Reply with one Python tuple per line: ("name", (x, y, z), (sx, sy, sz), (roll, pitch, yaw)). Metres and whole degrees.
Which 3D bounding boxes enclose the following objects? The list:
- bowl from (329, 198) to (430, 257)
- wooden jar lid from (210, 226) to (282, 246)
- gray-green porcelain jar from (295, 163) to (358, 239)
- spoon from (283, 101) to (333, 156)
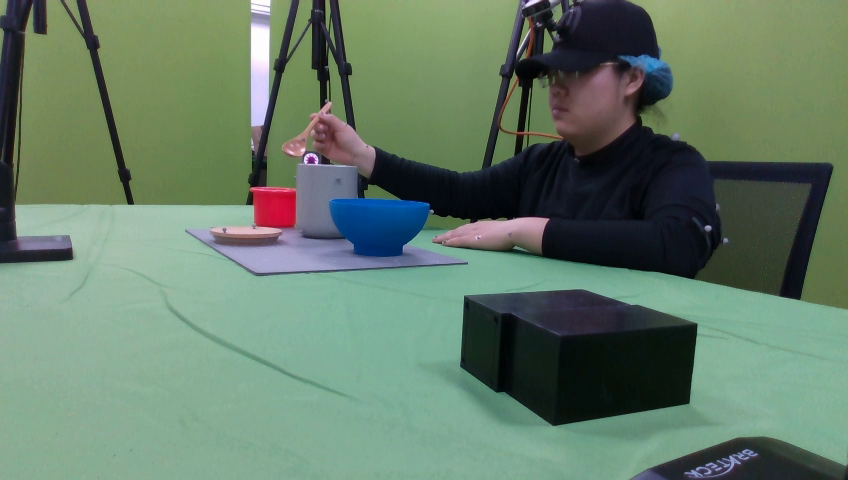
("bowl", (-0.067, -0.019, 0.895), (0.151, 0.077, 0.151), (3, 7, 0))
("wooden jar lid", (-0.279, -0.007, 0.951), (0.108, 0.020, 0.108), (2, 8, 0))
("gray-green porcelain jar", (-0.170, -0.069, 1.054), (0.106, 0.126, 0.106), (3, 7, 0))
("spoon", (-0.222, -0.224, 1.195), (0.041, 0.021, 0.194), (26, 51, 1))
